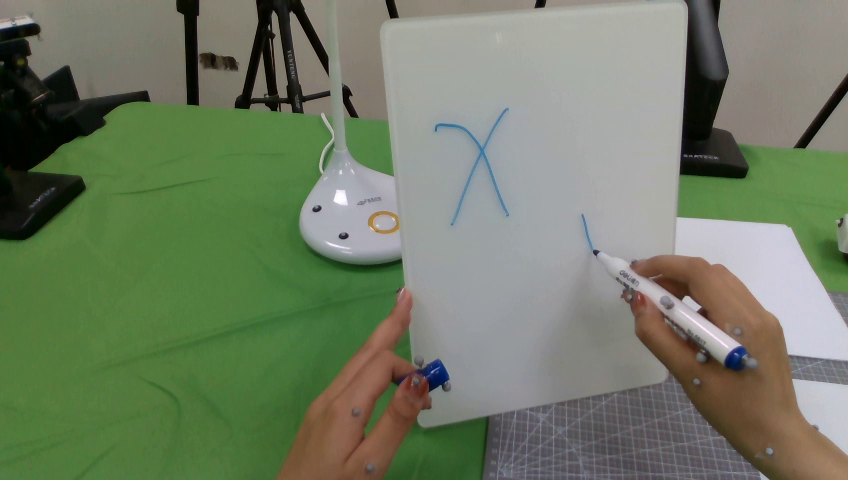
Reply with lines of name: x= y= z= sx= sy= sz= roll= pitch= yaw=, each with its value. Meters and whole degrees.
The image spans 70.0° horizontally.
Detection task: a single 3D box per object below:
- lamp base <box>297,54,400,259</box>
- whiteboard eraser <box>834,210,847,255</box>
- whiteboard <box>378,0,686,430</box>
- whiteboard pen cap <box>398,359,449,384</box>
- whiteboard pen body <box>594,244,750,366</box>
lamp base: x=-0.072 y=-0.097 z=0.653 sx=0.161 sy=0.182 sz=0.177 roll=-26 pitch=42 yaw=-30
whiteboard eraser: x=0.497 y=0.005 z=0.635 sx=0.112 sy=0.042 sz=0.055 roll=16 pitch=41 yaw=20
whiteboard: x=0.076 y=-0.030 z=0.508 sx=0.217 sy=0.307 sz=0.142 roll=-8 pitch=19 yaw=-9
whiteboard pen cap: x=0.001 y=0.086 z=0.395 sx=0.033 sy=0.018 sz=0.018 roll=-10 pitch=27 yaw=36
whiteboard pen body: x=0.156 y=0.036 z=0.402 sx=0.017 sy=0.017 sz=0.139 roll=-14 pitch=33 yaw=-18
